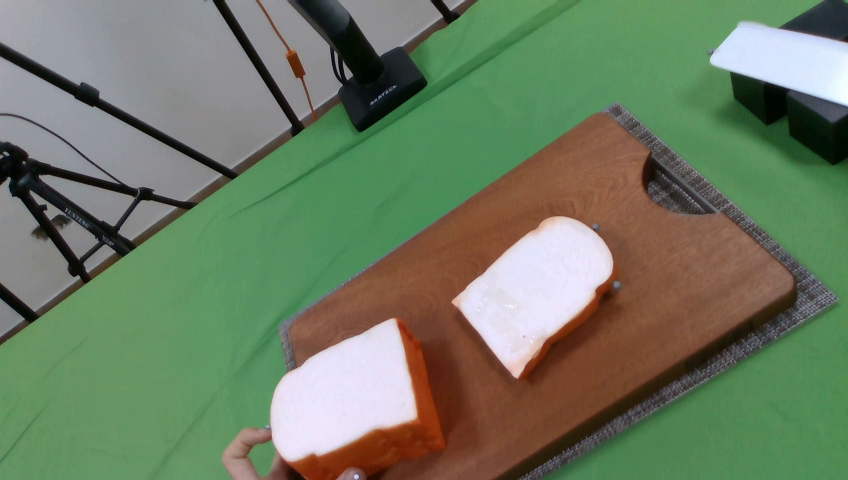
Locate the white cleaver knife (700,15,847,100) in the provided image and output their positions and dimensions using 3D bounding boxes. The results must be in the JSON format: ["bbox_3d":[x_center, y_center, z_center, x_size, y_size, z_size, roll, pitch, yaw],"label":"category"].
[{"bbox_3d":[0.337,-0.124,0.454,0.066,0.022,0.283,-44,46,-2],"label":"white cleaver knife"}]

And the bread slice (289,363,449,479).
[{"bbox_3d":[-0.052,0.163,0.542,0.134,0.018,0.106,-6,43,-5],"label":"bread slice"}]

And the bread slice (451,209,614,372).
[{"bbox_3d":[0.096,0.035,0.509,0.131,0.019,0.103,-44,42,4],"label":"bread slice"}]
